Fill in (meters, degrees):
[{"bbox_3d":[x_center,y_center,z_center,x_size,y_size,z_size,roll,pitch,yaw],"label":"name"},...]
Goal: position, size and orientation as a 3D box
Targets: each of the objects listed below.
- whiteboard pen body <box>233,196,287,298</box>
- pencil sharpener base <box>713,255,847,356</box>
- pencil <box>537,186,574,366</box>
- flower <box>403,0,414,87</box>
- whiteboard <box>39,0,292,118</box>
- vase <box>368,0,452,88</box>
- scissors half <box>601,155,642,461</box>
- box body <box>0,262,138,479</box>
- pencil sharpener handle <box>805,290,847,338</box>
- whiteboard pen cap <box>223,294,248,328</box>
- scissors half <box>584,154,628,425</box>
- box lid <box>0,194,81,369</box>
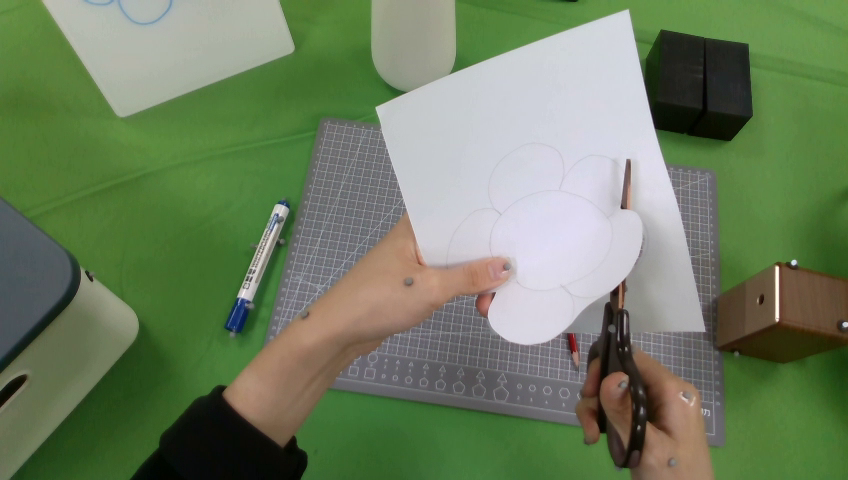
[{"bbox_3d":[-0.171,0.017,0.620,0.017,0.017,0.140,14,67,5],"label":"whiteboard pen body"},{"bbox_3d":[0.333,0.065,0.568,0.077,0.107,0.061,12,68,0],"label":"pencil sharpener base"},{"bbox_3d":[0.137,0.033,0.626,0.012,0.012,0.192,-5,71,-3],"label":"pencil"},{"bbox_3d":[-0.020,-0.296,0.562,0.044,0.365,0.038,1,50,3],"label":"flower"},{"bbox_3d":[-0.302,-0.325,0.630,0.217,0.308,0.142,-25,52,-10],"label":"whiteboard"},{"bbox_3d":[-0.016,-0.251,0.634,0.098,0.201,0.097,0,67,0],"label":"vase"},{"bbox_3d":[0.112,0.038,0.346,0.013,0.040,0.174,0,84,-4],"label":"scissors half"},{"bbox_3d":[-0.475,0.048,0.522,0.362,0.161,0.253,34,71,11],"label":"box body"},{"bbox_3d":[0.383,0.073,0.556,0.030,0.068,0.035,12,62,0],"label":"pencil sharpener handle"},{"bbox_3d":[-0.184,0.069,0.597,0.018,0.018,0.033,14,64,4],"label":"whiteboard pen cap"},{"bbox_3d":[0.112,0.035,0.369,0.013,0.040,0.176,1,112,1],"label":"scissors half"},{"bbox_3d":[-0.475,0.019,0.453,0.370,0.015,0.262,34,71,11],"label":"box lid"}]
